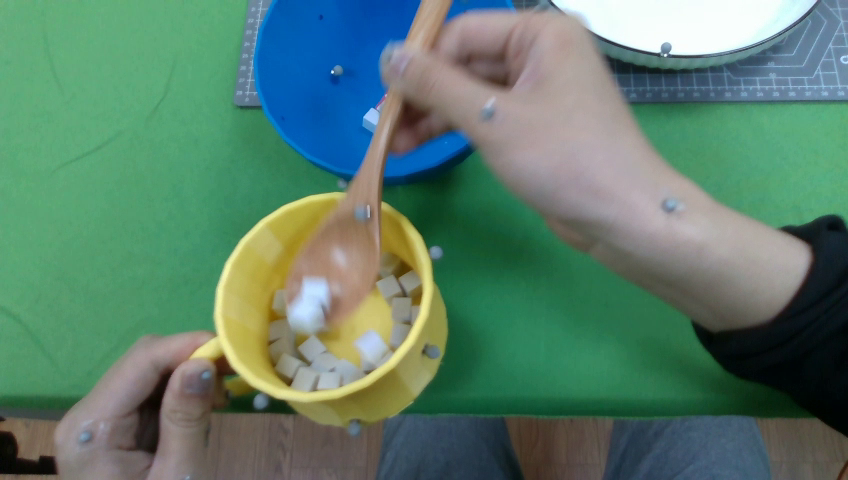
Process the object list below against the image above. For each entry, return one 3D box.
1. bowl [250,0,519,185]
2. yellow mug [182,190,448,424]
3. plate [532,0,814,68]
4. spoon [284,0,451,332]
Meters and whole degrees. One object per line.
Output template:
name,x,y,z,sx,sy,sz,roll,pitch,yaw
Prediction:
bowl,-0.019,-0.095,0.370,0.151,0.077,0.150,-1,76,5
yellow mug,-0.055,0.042,0.296,0.131,0.064,0.099,-28,64,-5
plate,0.162,-0.203,0.411,0.209,0.038,0.208,-1,72,4
spoon,-0.015,-0.051,0.263,0.041,0.022,0.194,24,97,20
